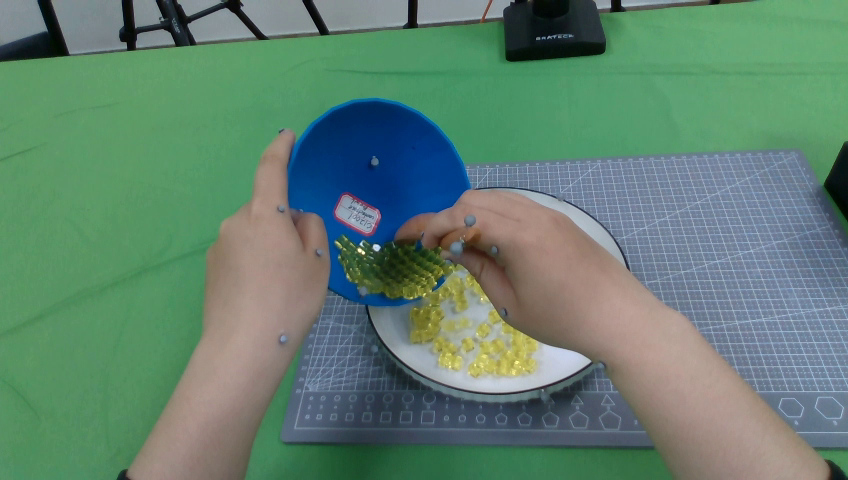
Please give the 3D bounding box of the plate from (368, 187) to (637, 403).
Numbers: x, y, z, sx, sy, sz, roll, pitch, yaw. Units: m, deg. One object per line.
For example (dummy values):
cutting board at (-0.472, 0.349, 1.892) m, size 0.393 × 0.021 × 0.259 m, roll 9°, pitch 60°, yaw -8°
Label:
plate at (0.060, 0.040, 0.487) m, size 0.207 × 0.039 × 0.205 m, roll -4°, pitch 47°, yaw 5°

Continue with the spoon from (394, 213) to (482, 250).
spoon at (0.010, -0.004, 0.380) m, size 0.041 × 0.022 × 0.193 m, roll -24°, pitch 8°, yaw -9°

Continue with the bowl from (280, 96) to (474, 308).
bowl at (-0.045, -0.024, 0.461) m, size 0.151 × 0.152 × 0.076 m, roll -42°, pitch 17°, yaw -27°
